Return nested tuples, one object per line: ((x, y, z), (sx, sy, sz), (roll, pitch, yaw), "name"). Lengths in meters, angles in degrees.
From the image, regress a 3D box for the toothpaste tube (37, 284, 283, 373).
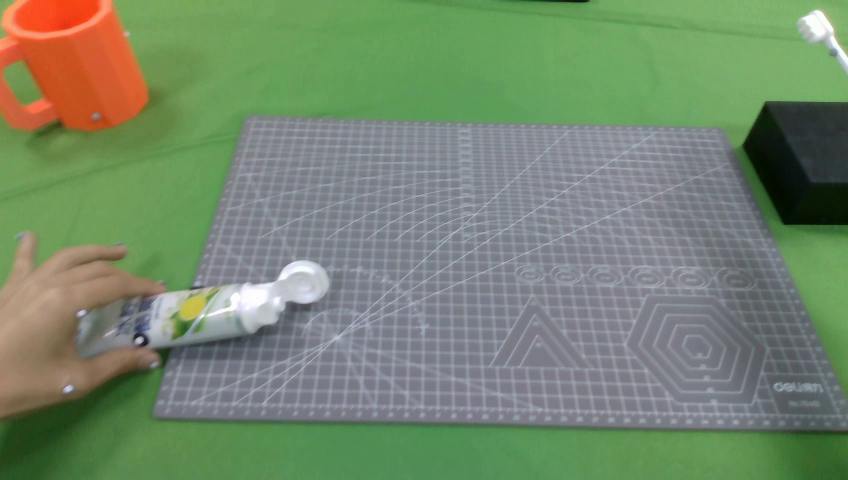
((-0.177, 0.054, 0.413), (0.165, 0.035, 0.054), (-9, 47, 2), "toothpaste tube")

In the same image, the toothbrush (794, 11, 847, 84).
((0.305, -0.079, 0.407), (0.017, 0.014, 0.181), (-22, 77, -16), "toothbrush")

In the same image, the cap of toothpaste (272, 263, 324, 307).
((-0.089, 0.033, 0.425), (0.037, 0.037, 0.011), (-3, 25, -4), "cap of toothpaste")

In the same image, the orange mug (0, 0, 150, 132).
((-0.318, -0.153, 0.534), (0.083, 0.101, 0.126), (35, 53, 25), "orange mug")
